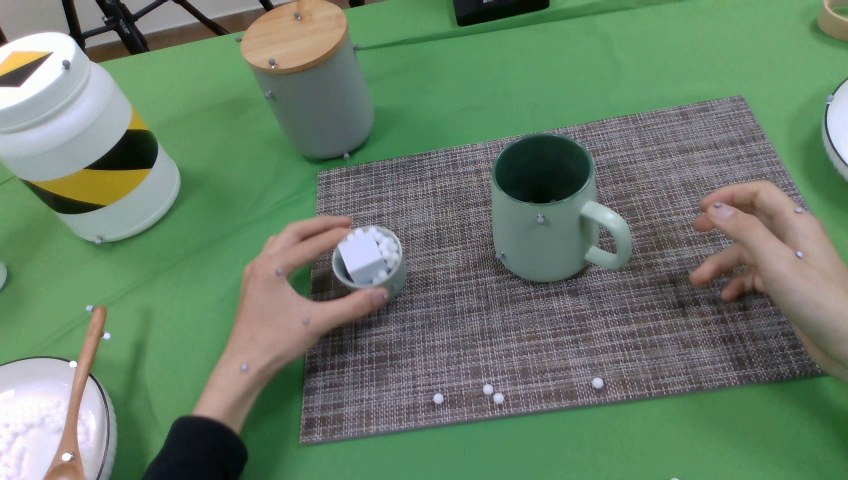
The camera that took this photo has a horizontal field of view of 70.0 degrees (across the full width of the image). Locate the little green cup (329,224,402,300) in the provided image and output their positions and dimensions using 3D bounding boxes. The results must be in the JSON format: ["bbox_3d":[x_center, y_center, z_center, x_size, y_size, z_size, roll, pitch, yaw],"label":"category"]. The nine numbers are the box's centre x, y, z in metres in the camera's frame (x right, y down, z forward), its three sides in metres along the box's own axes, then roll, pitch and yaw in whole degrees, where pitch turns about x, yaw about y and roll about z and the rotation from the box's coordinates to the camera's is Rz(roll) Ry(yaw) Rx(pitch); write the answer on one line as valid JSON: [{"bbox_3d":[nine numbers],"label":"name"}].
[{"bbox_3d":[-0.048,0.021,0.526,0.061,0.039,0.061,-5,55,8],"label":"little green cup"}]

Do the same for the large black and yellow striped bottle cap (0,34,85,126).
[{"bbox_3d":[-0.370,-0.148,0.553,0.115,0.019,0.114,-6,51,8],"label":"large black and yellow striped bottle cap"}]

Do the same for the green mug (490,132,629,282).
[{"bbox_3d":[0.112,-0.018,0.501,0.124,0.106,0.092,31,65,30],"label":"green mug"}]

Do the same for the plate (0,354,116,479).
[{"bbox_3d":[-0.345,0.194,0.491,0.209,0.038,0.207,-6,53,8],"label":"plate"}]

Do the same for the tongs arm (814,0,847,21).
[{"bbox_3d":[0.608,-0.230,0.596,0.383,0.027,0.050,12,62,22],"label":"tongs arm"}]

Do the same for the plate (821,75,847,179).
[{"bbox_3d":[0.457,-0.084,0.520,0.207,0.039,0.205,-6,53,8],"label":"plate"}]

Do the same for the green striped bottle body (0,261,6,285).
[{"bbox_3d":[-0.491,0.013,0.607,0.063,0.120,0.062,-6,53,9],"label":"green striped bottle body"}]

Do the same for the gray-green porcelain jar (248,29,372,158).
[{"bbox_3d":[-0.117,-0.160,0.649,0.106,0.128,0.105,-6,53,8],"label":"gray-green porcelain jar"}]

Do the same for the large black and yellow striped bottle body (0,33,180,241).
[{"bbox_3d":[-0.354,-0.100,0.620,0.130,0.186,0.129,-6,53,8],"label":"large black and yellow striped bottle body"}]

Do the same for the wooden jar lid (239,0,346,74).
[{"bbox_3d":[-0.128,-0.198,0.601,0.108,0.021,0.107,-5,56,8],"label":"wooden jar lid"}]

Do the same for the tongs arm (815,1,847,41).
[{"bbox_3d":[0.574,-0.168,0.562,0.384,0.028,0.028,24,71,27],"label":"tongs arm"}]

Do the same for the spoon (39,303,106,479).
[{"bbox_3d":[-0.288,0.137,0.501,0.041,0.022,0.192,-7,61,6],"label":"spoon"}]
